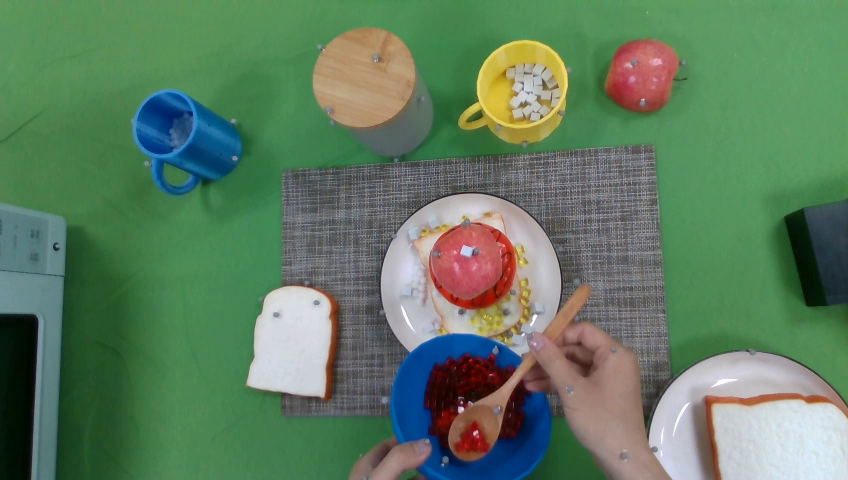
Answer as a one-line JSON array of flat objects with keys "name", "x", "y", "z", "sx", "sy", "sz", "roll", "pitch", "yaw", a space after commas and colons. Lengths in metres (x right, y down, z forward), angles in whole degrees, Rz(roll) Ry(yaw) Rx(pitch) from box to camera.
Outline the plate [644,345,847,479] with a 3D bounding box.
[{"name": "plate", "x": 0.334, "y": 0.212, "z": 0.624, "sx": 0.209, "sy": 0.038, "sz": 0.208, "roll": -1, "pitch": 83, "yaw": 11}]

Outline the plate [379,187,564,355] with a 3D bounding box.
[{"name": "plate", "x": 0.053, "y": 0.045, "z": 0.691, "sx": 0.207, "sy": 0.039, "sz": 0.207, "roll": -1, "pitch": 84, "yaw": 10}]

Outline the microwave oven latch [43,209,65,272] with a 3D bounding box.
[{"name": "microwave oven latch", "x": -0.484, "y": 0.001, "z": 0.778, "sx": 0.030, "sy": 0.029, "sz": 0.079, "roll": 1, "pitch": 85, "yaw": 10}]

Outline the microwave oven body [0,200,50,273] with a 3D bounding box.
[{"name": "microwave oven body", "x": -0.643, "y": 0.172, "z": 0.690, "sx": 0.325, "sy": 0.261, "sz": 0.440, "roll": -3, "pitch": 84, "yaw": 10}]

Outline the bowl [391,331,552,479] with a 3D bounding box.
[{"name": "bowl", "x": 0.037, "y": 0.171, "z": 0.575, "sx": 0.152, "sy": 0.077, "sz": 0.150, "roll": 7, "pitch": 49, "yaw": -8}]

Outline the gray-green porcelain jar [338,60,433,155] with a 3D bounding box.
[{"name": "gray-green porcelain jar", "x": -0.048, "y": -0.159, "z": 0.691, "sx": 0.105, "sy": 0.127, "sz": 0.105, "roll": -1, "pitch": 83, "yaw": 10}]

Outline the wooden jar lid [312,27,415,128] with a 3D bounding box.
[{"name": "wooden jar lid", "x": -0.061, "y": -0.167, "z": 0.628, "sx": 0.108, "sy": 0.021, "sz": 0.108, "roll": -1, "pitch": 82, "yaw": 8}]

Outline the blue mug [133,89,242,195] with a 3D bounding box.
[{"name": "blue mug", "x": -0.291, "y": -0.111, "z": 0.740, "sx": 0.082, "sy": 0.106, "sz": 0.116, "roll": 18, "pitch": 87, "yaw": 12}]

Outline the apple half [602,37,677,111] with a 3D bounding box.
[{"name": "apple half", "x": 0.243, "y": -0.192, "z": 0.678, "sx": 0.074, "sy": 0.053, "sz": 0.080, "roll": 20, "pitch": 88, "yaw": 15}]

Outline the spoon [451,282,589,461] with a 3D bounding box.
[{"name": "spoon", "x": 0.087, "y": 0.117, "z": 0.537, "sx": 0.041, "sy": 0.022, "sz": 0.194, "roll": 39, "pitch": 103, "yaw": 20}]

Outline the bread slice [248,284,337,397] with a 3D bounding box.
[{"name": "bread slice", "x": -0.158, "y": 0.119, "z": 0.732, "sx": 0.104, "sy": 0.019, "sz": 0.131, "roll": 5, "pitch": 86, "yaw": 10}]

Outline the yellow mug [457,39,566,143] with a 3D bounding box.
[{"name": "yellow mug", "x": 0.097, "y": -0.162, "z": 0.695, "sx": 0.131, "sy": 0.064, "sz": 0.099, "roll": -25, "pitch": 80, "yaw": 8}]

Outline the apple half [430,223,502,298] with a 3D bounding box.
[{"name": "apple half", "x": 0.042, "y": 0.021, "z": 0.629, "sx": 0.081, "sy": 0.033, "sz": 0.081, "roll": -3, "pitch": 80, "yaw": 17}]

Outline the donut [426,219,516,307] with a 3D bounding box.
[{"name": "donut", "x": 0.052, "y": 0.025, "z": 0.665, "sx": 0.099, "sy": 0.048, "sz": 0.099, "roll": -1, "pitch": 84, "yaw": 11}]

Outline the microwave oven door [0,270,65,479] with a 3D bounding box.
[{"name": "microwave oven door", "x": -0.500, "y": 0.207, "z": 0.655, "sx": 0.039, "sy": 0.245, "sz": 0.354, "roll": -3, "pitch": 83, "yaw": 11}]

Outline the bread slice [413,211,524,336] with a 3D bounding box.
[{"name": "bread slice", "x": 0.058, "y": 0.043, "z": 0.691, "sx": 0.107, "sy": 0.018, "sz": 0.133, "roll": -20, "pitch": 81, "yaw": 9}]
